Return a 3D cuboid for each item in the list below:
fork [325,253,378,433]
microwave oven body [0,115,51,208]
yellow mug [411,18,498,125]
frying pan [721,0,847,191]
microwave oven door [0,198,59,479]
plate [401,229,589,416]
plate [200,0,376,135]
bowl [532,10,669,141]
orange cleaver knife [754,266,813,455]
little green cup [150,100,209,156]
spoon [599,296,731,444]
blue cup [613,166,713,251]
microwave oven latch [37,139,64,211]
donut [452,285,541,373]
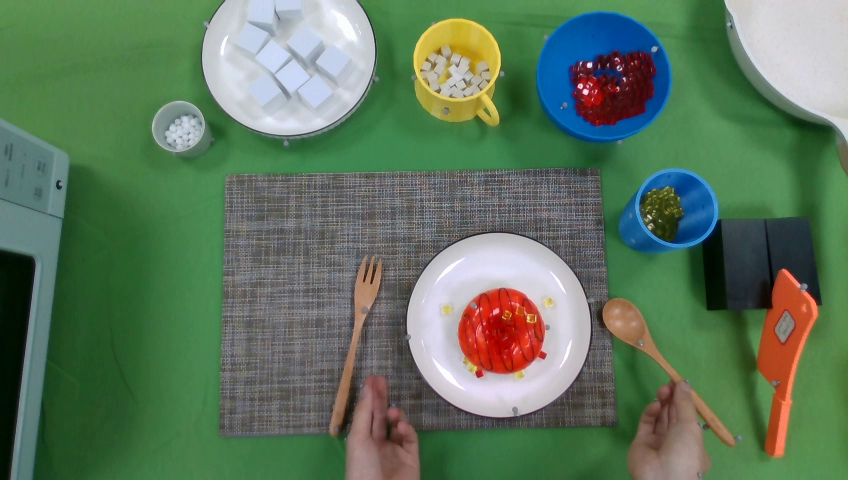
[{"bbox_3d":[-0.084,0.116,0.691,0.028,0.018,0.206,13,81,-10],"label":"fork"},{"bbox_3d":[-0.588,0.081,0.570,0.326,0.261,0.440,2,83,-1],"label":"microwave oven body"},{"bbox_3d":[0.044,-0.189,0.715,0.100,0.064,0.130,-38,85,-5],"label":"yellow mug"},{"bbox_3d":[0.487,-0.169,0.695,0.307,0.103,0.485,4,74,1],"label":"frying pan"},{"bbox_3d":[-0.443,0.128,0.560,0.039,0.244,0.354,2,82,0],"label":"microwave oven door"},{"bbox_3d":[0.078,0.092,0.686,0.209,0.038,0.208,0,83,0],"label":"plate"},{"bbox_3d":[-0.160,-0.223,0.732,0.208,0.039,0.207,0,82,0],"label":"plate"},{"bbox_3d":[0.196,-0.179,0.709,0.151,0.077,0.151,0,82,0],"label":"bowl"},{"bbox_3d":[0.384,0.135,0.663,0.012,0.076,0.212,-2,110,0],"label":"orange cleaver knife"},{"bbox_3d":[-0.286,-0.130,0.716,0.061,0.039,0.061,0,82,-1],"label":"little green cup"},{"bbox_3d":[0.262,0.140,0.665,0.041,0.022,0.192,-32,63,-7],"label":"spoon"},{"bbox_3d":[0.256,-0.027,0.675,0.093,0.100,0.092,0,80,-1],"label":"blue cup"},{"bbox_3d":[-0.433,-0.074,0.690,0.030,0.029,0.079,4,83,0],"label":"microwave oven latch"},{"bbox_3d":[0.080,0.098,0.673,0.099,0.048,0.099,0,85,1],"label":"donut"}]
